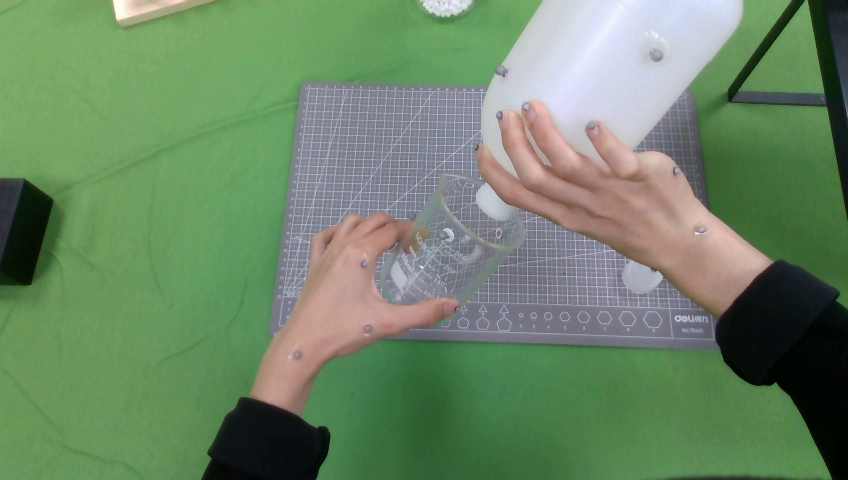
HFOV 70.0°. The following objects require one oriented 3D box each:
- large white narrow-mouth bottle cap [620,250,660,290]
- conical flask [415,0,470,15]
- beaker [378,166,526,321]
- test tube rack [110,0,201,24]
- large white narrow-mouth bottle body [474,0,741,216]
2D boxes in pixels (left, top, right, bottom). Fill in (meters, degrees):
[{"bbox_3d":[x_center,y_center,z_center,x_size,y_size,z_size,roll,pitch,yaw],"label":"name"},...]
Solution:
[{"bbox_3d":[0.217,0.031,0.609,0.038,0.024,0.037,-1,71,3],"label":"large white narrow-mouth bottle cap"},{"bbox_3d":[0.021,-0.325,0.690,0.075,0.122,0.075,-1,70,2],"label":"conical flask"},{"bbox_3d":[0.015,0.005,0.456,0.074,0.100,0.083,-16,60,-50],"label":"beaker"},{"bbox_3d":[-0.273,-0.346,0.725,0.242,0.086,0.066,-18,70,-5],"label":"test tube rack"},{"bbox_3d":[0.093,-0.094,0.385,0.102,0.195,0.101,24,33,-17],"label":"large white narrow-mouth bottle body"}]
